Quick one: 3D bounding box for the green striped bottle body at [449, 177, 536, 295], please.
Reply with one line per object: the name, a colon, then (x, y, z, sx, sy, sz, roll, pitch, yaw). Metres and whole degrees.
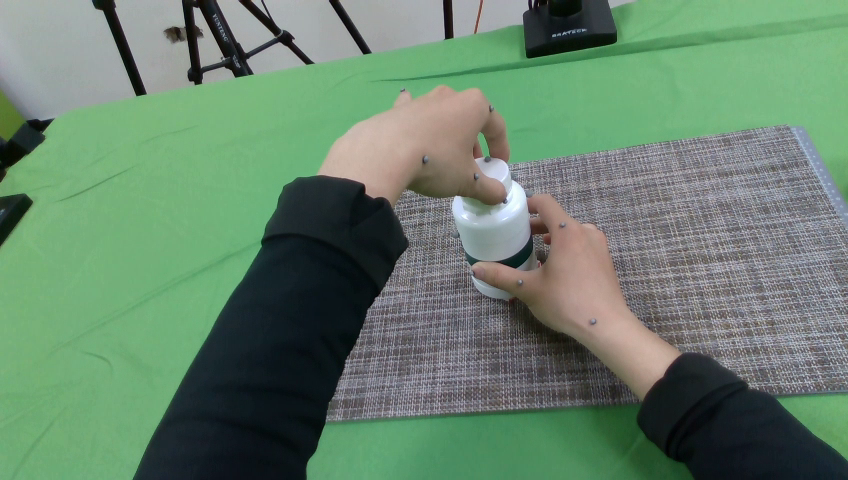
green striped bottle body: (0.059, -0.011, 0.526, 0.063, 0.120, 0.062, -10, 45, 11)

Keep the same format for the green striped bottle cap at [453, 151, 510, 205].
green striped bottle cap: (0.046, -0.050, 0.487, 0.044, 0.020, 0.044, -10, 54, 15)
